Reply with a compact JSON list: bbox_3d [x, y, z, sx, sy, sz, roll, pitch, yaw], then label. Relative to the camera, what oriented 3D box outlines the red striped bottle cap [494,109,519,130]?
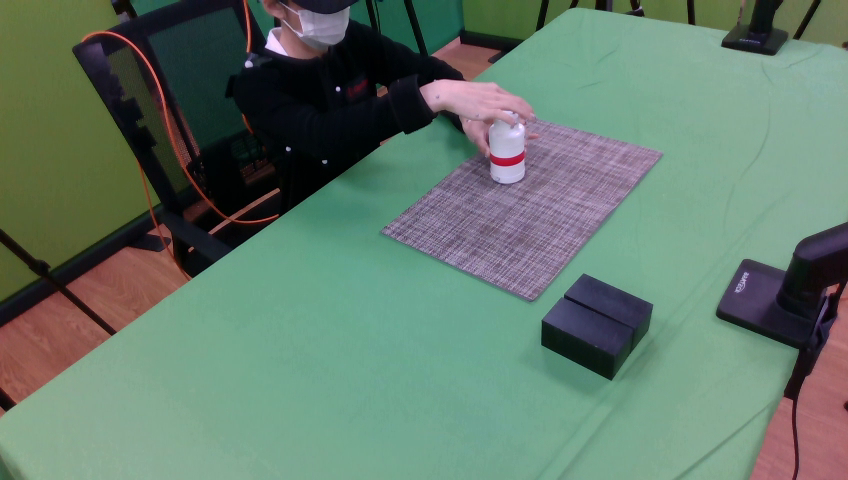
[{"bbox_3d":[0.140,-0.206,1.029,0.044,0.018,0.044,-3,39,3],"label":"red striped bottle cap"}]

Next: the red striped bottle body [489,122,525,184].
[{"bbox_3d":[0.147,-0.164,1.064,0.063,0.120,0.062,-5,40,4],"label":"red striped bottle body"}]
